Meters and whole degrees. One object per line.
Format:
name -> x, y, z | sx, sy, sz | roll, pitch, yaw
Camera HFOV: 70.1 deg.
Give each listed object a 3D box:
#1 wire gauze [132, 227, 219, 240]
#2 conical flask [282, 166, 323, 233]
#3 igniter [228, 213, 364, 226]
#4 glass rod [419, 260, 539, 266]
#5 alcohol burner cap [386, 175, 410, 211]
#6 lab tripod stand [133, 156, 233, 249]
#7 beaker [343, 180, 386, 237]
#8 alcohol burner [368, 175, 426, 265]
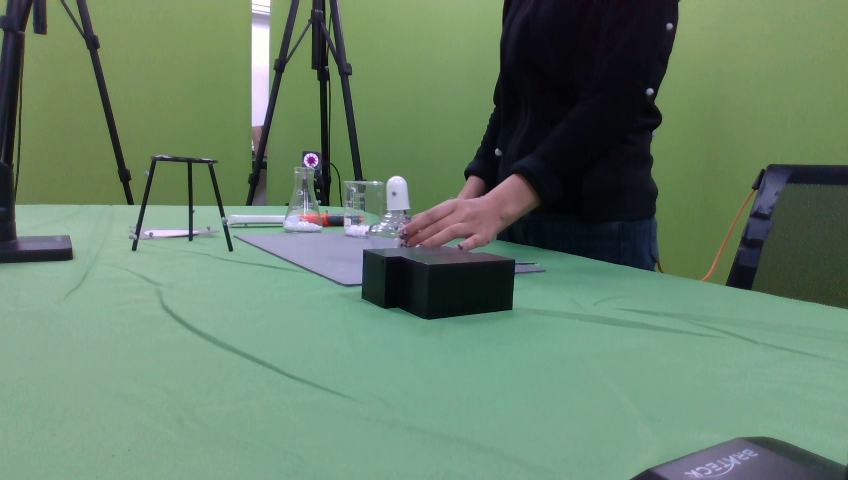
wire gauze -> -0.421, -0.014, 1.024 | 0.122, 0.011, 0.124 | -2, 7, -34
conical flask -> -0.225, -0.077, 1.129 | 0.075, 0.122, 0.075 | 2, 8, 0
igniter -> -0.252, -0.042, 1.227 | 0.278, 0.025, 0.057 | -3, -2, -32
glass rod -> 0.079, 0.031, 0.809 | 0.201, 0.008, 0.008 | 1, 6, -33
alcohol burner cap -> -0.036, -0.062, 0.803 | 0.034, 0.048, 0.034 | -5, 6, 1
lab tripod stand -> -0.342, -0.054, 0.878 | 0.148, 0.131, 0.148 | 4, 6, 0
beaker -> -0.111, -0.058, 1.090 | 0.083, 0.100, 0.074 | 7, 8, 34
alcohol burner -> -0.035, -0.027, 0.807 | 0.078, 0.119, 0.078 | 3, 7, 0
